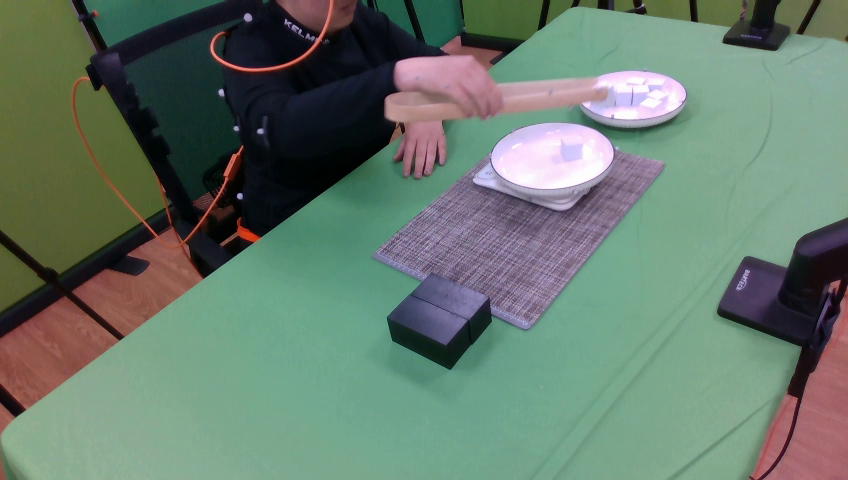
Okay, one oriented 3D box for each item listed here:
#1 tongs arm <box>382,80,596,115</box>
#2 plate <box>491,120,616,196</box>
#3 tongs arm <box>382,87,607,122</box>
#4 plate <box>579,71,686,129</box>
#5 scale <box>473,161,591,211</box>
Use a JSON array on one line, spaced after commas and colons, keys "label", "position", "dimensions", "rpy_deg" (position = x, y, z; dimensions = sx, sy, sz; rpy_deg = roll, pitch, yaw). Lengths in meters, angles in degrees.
[{"label": "tongs arm", "position": [0.115, -0.235, 0.980], "dimensions": [0.390, 0.028, 0.028], "rpy_deg": [-9, 42, -19]}, {"label": "plate", "position": [0.221, -0.137, 1.038], "dimensions": [0.207, 0.039, 0.206], "rpy_deg": [-6, 41, 5]}, {"label": "tongs arm", "position": [0.122, -0.222, 0.962], "dimensions": [0.387, 0.026, 0.050], "rpy_deg": [-12, 39, -22]}, {"label": "plate", "position": [0.416, -0.279, 1.222], "dimensions": [0.209, 0.038, 0.208], "rpy_deg": [-5, 41, 5]}, {"label": "scale", "position": [0.202, -0.121, 1.074], "dimensions": [0.199, 0.032, 0.149], "rpy_deg": [23, 49, 33]}]
